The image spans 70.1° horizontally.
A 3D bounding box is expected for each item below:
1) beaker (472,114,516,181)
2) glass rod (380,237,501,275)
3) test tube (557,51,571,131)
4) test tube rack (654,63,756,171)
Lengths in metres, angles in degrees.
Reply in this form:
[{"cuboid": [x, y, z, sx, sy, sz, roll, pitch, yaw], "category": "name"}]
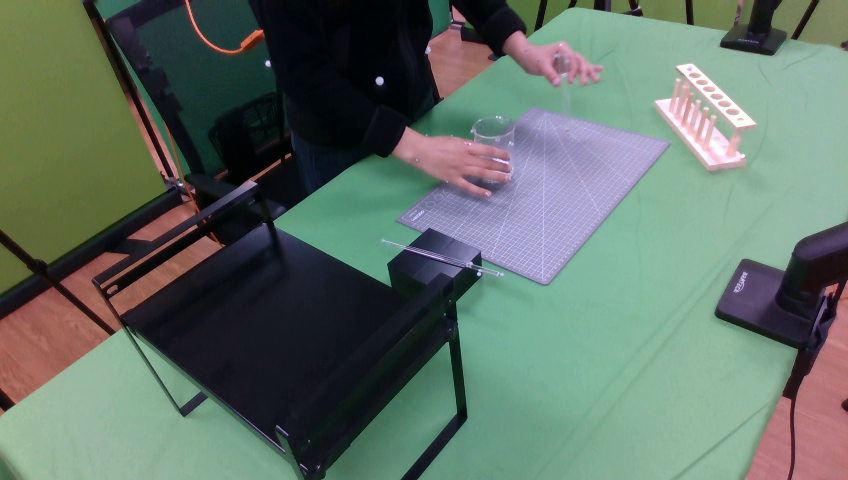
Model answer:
[{"cuboid": [0.126, -0.162, 1.062, 0.073, 0.101, 0.084, 15, 45, 23], "category": "beaker"}, {"cuboid": [0.020, 0.023, 0.881, 0.198, 0.008, 0.008, 16, 46, 25], "category": "glass rod"}, {"cuboid": [0.252, -0.265, 1.087, 0.017, 0.151, 0.017, -10, 36, 7], "category": "test tube"}, {"cuboid": [0.511, -0.233, 1.120, 0.067, 0.085, 0.241, -8, 41, -1], "category": "test tube rack"}]
